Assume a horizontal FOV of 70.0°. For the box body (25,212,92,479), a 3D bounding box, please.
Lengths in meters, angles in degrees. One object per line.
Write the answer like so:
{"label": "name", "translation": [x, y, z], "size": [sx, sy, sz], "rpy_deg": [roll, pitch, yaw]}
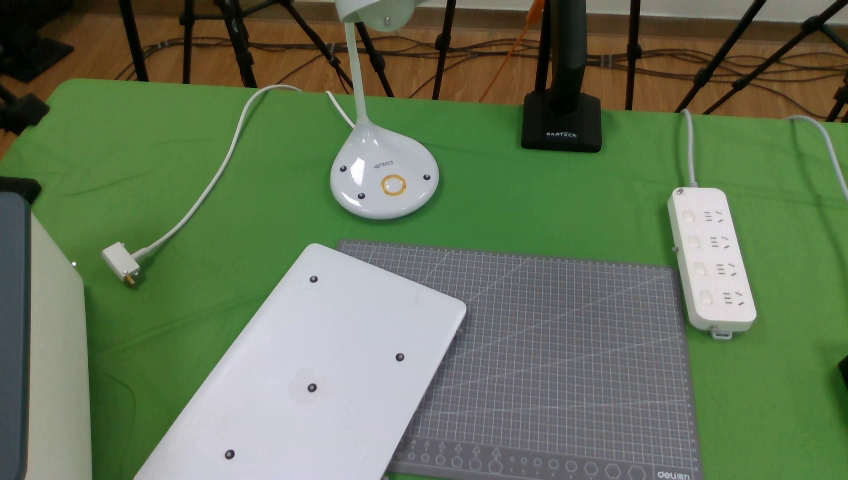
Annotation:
{"label": "box body", "translation": [-0.510, 0.160, 0.634], "size": [0.254, 0.162, 0.360], "rpy_deg": [-18, 55, -11]}

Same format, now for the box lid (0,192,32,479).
{"label": "box lid", "translation": [-0.513, 0.115, 0.576], "size": [0.263, 0.015, 0.367], "rpy_deg": [-18, 56, -10]}

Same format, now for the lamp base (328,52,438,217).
{"label": "lamp base", "translation": [-0.071, -0.151, 0.831], "size": [0.161, 0.182, 0.177], "rpy_deg": [-28, 54, -17]}

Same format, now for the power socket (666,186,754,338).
{"label": "power socket", "translation": [0.362, 0.018, 0.777], "size": [0.072, 0.033, 0.224], "rpy_deg": [4, 54, 4]}

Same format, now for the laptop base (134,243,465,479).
{"label": "laptop base", "translation": [-0.127, 0.174, 0.698], "size": [0.234, 0.023, 0.352], "rpy_deg": [22, 58, 14]}

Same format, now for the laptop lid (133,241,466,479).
{"label": "laptop lid", "translation": [-0.126, 0.167, 0.688], "size": [0.240, 0.013, 0.355], "rpy_deg": [23, 58, 16]}

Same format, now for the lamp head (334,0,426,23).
{"label": "lamp head", "translation": [-0.047, -0.280, 0.577], "size": [0.112, 0.112, 0.123], "rpy_deg": [-21, 99, -12]}

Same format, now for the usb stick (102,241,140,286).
{"label": "usb stick", "translation": [-0.396, 0.033, 0.801], "size": [0.027, 0.021, 0.059], "rpy_deg": [-35, 89, -38]}
